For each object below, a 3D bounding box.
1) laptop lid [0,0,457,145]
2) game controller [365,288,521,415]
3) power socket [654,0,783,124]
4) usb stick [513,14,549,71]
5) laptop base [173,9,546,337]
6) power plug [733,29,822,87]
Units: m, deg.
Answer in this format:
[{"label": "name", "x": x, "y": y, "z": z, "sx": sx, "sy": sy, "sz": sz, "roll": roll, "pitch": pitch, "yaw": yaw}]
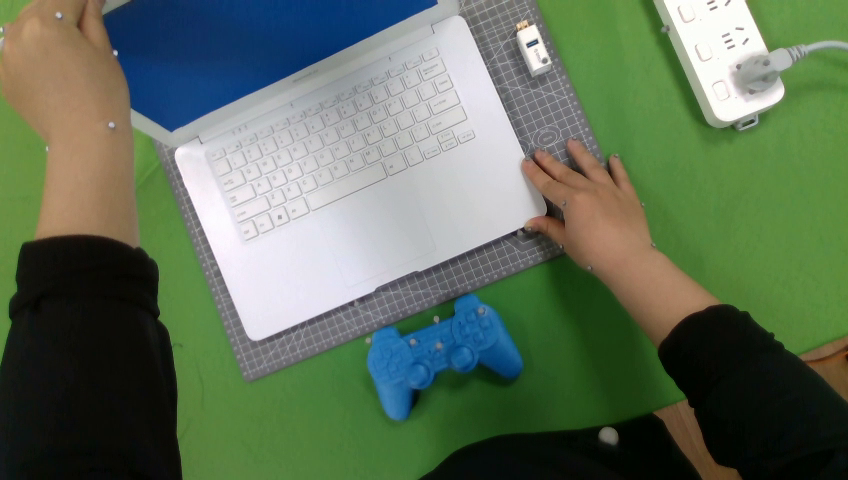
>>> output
[{"label": "laptop lid", "x": -0.148, "y": -0.198, "z": 0.547, "sx": 0.356, "sy": 0.243, "sz": 0.013, "roll": -24, "pitch": 75, "yaw": 8}, {"label": "game controller", "x": 0.014, "y": 0.113, "z": 0.624, "sx": 0.155, "sy": 0.052, "sz": 0.096, "roll": -22, "pitch": 81, "yaw": 6}, {"label": "power socket", "x": 0.279, "y": -0.224, "z": 0.601, "sx": 0.072, "sy": 0.032, "sz": 0.226, "roll": -22, "pitch": 86, "yaw": 8}, {"label": "usb stick", "x": 0.108, "y": -0.207, "z": 0.623, "sx": 0.021, "sy": 0.027, "sz": 0.059, "roll": -23, "pitch": 83, "yaw": 9}, {"label": "laptop base", "x": -0.076, "y": -0.068, "z": 0.653, "sx": 0.354, "sy": 0.023, "sz": 0.235, "roll": -24, "pitch": 89, "yaw": 6}, {"label": "power plug", "x": 0.331, "y": -0.167, "z": 0.573, "sx": 0.072, "sy": 0.053, "sz": 0.035, "roll": -11, "pitch": 86, "yaw": 3}]
